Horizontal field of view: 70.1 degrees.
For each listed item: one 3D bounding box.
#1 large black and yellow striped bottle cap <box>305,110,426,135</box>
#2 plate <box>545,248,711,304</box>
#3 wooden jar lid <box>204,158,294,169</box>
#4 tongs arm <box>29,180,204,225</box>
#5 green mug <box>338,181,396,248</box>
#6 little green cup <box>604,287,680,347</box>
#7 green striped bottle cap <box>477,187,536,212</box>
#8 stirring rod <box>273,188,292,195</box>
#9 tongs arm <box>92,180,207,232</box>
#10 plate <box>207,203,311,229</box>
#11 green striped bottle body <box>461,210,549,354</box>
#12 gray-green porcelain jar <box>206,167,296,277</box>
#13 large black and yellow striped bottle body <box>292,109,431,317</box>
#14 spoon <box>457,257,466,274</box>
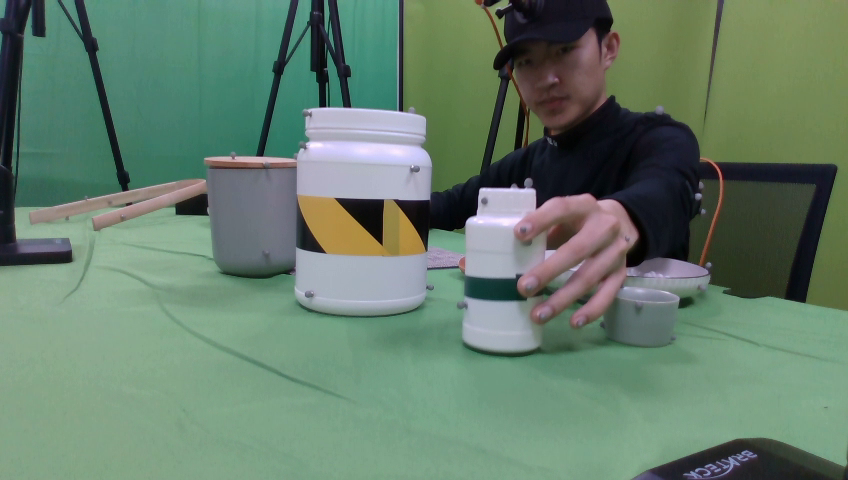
[{"bbox_3d":[-0.055,-0.110,0.574,0.115,0.019,0.115,1,7,0],"label":"large black and yellow striped bottle cap"},{"bbox_3d":[0.219,0.041,0.706,0.209,0.038,0.209,2,7,0],"label":"plate"},{"bbox_3d":[-0.202,-0.086,0.714,0.108,0.020,0.108,3,10,0],"label":"wooden jar lid"},{"bbox_3d":[-0.609,-0.083,1.245,0.050,0.026,0.386,5,16,23],"label":"tongs arm"},{"bbox_3d":[-0.097,-0.044,0.995,0.093,0.105,0.125,-1,7,-21],"label":"green mug"},{"bbox_3d":[0.180,0.064,0.505,0.061,0.038,0.061,2,8,0],"label":"little green cup"},{"bbox_3d":[0.062,-0.029,0.455,0.044,0.020,0.044,1,3,0],"label":"green striped bottle cap"},{"bbox_3d":[-0.354,-0.122,1.519,0.006,0.014,0.176,2,6,1],"label":"stirring rod"},{"bbox_3d":[-0.534,-0.076,1.221,0.028,0.028,0.388,-2,15,12],"label":"tongs arm"},{"bbox_3d":[-0.342,-0.050,1.259,0.208,0.039,0.207,2,7,0],"label":"plate"},{"bbox_3d":[0.062,0.021,0.460,0.063,0.119,0.063,2,7,0],"label":"green striped bottle body"},{"bbox_3d":[-0.201,-0.024,0.724,0.106,0.126,0.106,-1,9,1],"label":"gray-green porcelain jar"},{"bbox_3d":[-0.060,-0.028,0.585,0.131,0.184,0.130,3,7,0],"label":"large black and yellow striped bottle body"},{"bbox_3d":[0.059,0.044,0.696,0.041,0.021,0.193,21,7,0],"label":"spoon"}]
